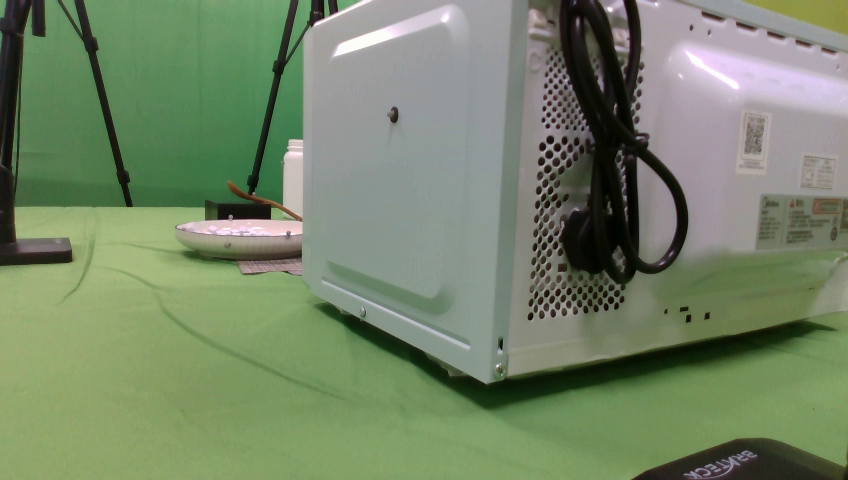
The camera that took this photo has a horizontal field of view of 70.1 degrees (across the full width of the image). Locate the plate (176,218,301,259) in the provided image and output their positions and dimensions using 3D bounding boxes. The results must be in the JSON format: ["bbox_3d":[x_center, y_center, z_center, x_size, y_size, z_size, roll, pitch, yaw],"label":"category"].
[{"bbox_3d":[-0.248,-0.003,0.877,0.209,0.038,0.209,1,8,0],"label":"plate"}]

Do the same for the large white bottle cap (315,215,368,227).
[{"bbox_3d":[-0.178,-0.041,1.309,0.115,0.018,0.115,2,6,0],"label":"large white bottle cap"}]

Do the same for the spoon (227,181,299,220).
[{"bbox_3d":[-0.315,-0.074,1.235,0.195,0.021,0.041,24,-9,-37],"label":"spoon"}]

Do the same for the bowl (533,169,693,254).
[{"bbox_3d":[0.181,-0.030,0.596,0.151,0.077,0.151,1,7,0],"label":"bowl"}]

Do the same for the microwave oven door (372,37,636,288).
[{"bbox_3d":[0.110,-0.080,0.686,0.358,0.243,0.039,-2,9,-33],"label":"microwave oven door"}]

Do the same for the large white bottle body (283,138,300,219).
[{"bbox_3d":[-0.265,-0.143,1.424,0.131,0.184,0.130,2,7,0],"label":"large white bottle body"}]

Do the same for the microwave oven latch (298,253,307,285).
[{"bbox_3d":[-0.082,0.027,0.582,0.079,0.029,0.030,-2,7,-33],"label":"microwave oven latch"}]

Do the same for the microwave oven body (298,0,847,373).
[{"bbox_3d":[0.151,-0.055,0.542,0.444,0.260,0.324,-2,7,-33],"label":"microwave oven body"}]
